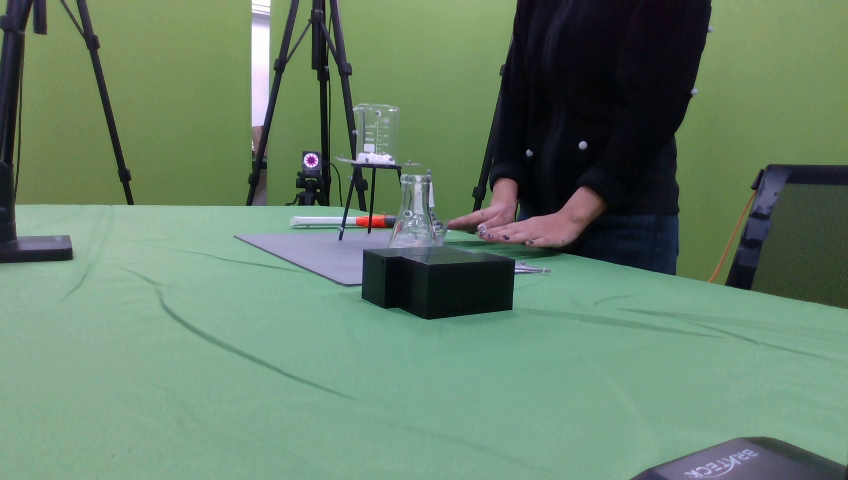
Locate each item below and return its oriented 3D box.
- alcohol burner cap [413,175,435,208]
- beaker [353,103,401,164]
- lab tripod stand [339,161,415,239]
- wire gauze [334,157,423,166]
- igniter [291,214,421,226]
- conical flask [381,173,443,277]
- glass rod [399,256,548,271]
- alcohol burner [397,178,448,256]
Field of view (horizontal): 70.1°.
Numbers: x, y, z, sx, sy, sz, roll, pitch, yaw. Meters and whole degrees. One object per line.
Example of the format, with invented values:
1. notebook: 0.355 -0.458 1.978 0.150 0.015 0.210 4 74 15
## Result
1. alcohol burner cap: -0.001 -0.072 0.898 0.034 0.048 0.034 -3 10 1
2. beaker: -0.084 -0.183 1.046 0.084 0.100 0.074 4 6 3
3. lab tripod stand: -0.082 -0.070 1.059 0.148 0.131 0.148 4 6 0
4. wire gauze: -0.081 -0.135 1.051 0.122 0.011 0.124 2 5 -30
5. igniter: -0.135 -0.041 1.250 0.278 0.025 0.057 -1 -3 -28
6. conical flask: -0.012 -0.020 0.731 0.075 0.122 0.075 2 7 0
7. glass rod: 0.064 0.030 0.806 0.199 0.008 0.008 4 7 10
8. alcohol burner: -0.001 -0.037 0.903 0.078 0.119 0.078 4 9 0
